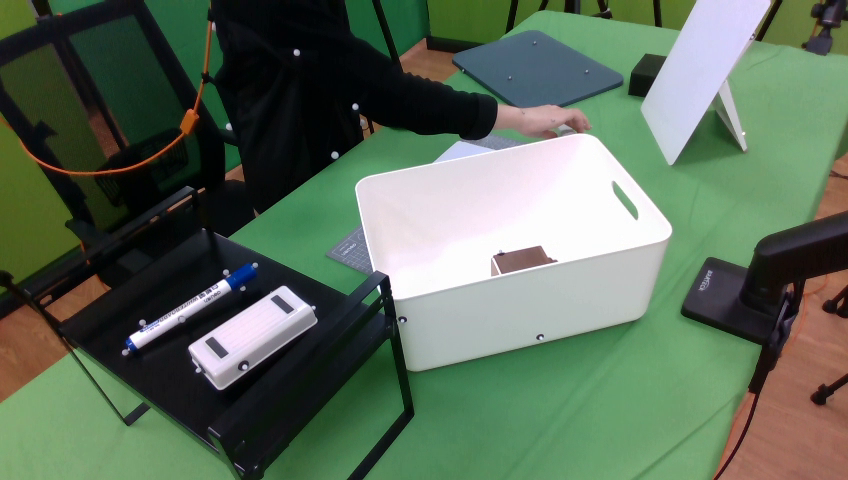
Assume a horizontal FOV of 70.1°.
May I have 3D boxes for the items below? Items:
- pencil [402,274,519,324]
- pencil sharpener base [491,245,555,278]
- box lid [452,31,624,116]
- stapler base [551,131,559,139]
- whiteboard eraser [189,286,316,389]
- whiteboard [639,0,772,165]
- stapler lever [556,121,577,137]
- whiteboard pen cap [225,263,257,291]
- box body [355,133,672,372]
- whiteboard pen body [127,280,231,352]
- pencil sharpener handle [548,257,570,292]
[{"bbox_3d":[0.056,0.082,0.870,0.195,0.012,0.012,-20,42,-20],"label":"pencil"},{"bbox_3d":[0.134,0.068,0.801,0.077,0.107,0.061,-12,42,-7],"label":"pencil sharpener base"},{"bbox_3d":[0.256,-0.401,1.419,0.264,0.015,0.368,-22,43,-17],"label":"box lid"},{"bbox_3d":[0.268,-0.178,1.142,0.041,0.024,0.130,1,37,3],"label":"stapler base"},{"bbox_3d":[-0.166,0.096,0.593,0.113,0.042,0.055,-36,47,-29],"label":"whiteboard eraser"},{"bbox_3d":[0.543,-0.298,1.076,0.144,0.305,0.216,12,40,-7],"label":"whiteboard"},{"bbox_3d":[0.266,-0.198,1.128,0.027,0.040,0.117,0,38,3],"label":"stapler lever"},{"bbox_3d":[-0.204,0.041,0.668,0.033,0.018,0.018,-36,48,-22],"label":"whiteboard pen cap"},{"bbox_3d":[0.108,0.013,0.834,0.365,0.161,0.252,-12,41,-6],"label":"box body"},{"bbox_3d":[-0.248,0.072,0.645,0.141,0.017,0.017,-35,47,-23],"label":"whiteboard pen body"},{"bbox_3d":[0.182,0.046,0.801,0.031,0.068,0.035,-12,55,-7],"label":"pencil sharpener handle"}]
